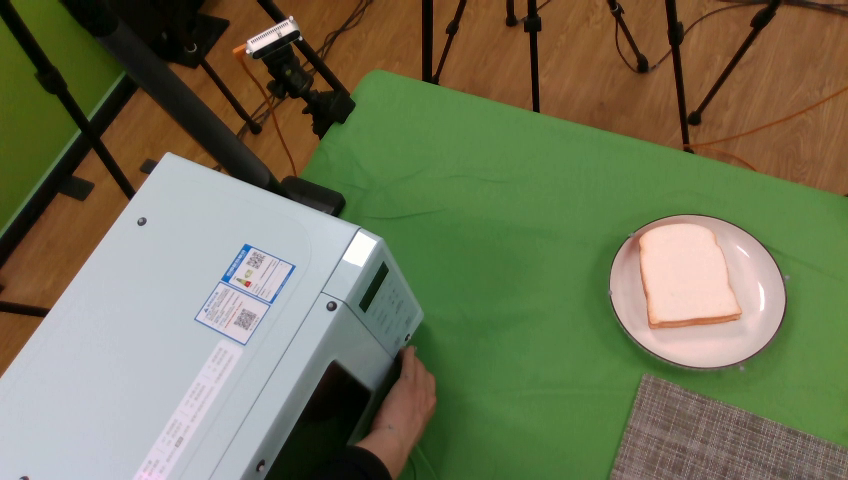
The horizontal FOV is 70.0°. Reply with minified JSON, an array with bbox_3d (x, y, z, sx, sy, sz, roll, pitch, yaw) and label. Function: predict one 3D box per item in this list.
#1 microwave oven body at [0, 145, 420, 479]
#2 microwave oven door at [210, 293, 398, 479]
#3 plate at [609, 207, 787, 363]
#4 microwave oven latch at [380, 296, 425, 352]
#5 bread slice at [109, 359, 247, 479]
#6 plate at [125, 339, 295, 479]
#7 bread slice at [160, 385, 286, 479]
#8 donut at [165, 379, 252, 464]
[{"bbox_3d":[-0.256,0.166,0.707,0.324,0.262,0.440,21,71,20],"label":"microwave oven body"},{"bbox_3d":[-0.149,0.249,0.640,0.039,0.246,0.354,21,70,20],"label":"microwave oven door"},{"bbox_3d":[0.340,0.057,0.769,0.207,0.039,0.206,-4,64,9],"label":"plate"},{"bbox_3d":[-0.031,0.107,0.799,0.030,0.030,0.079,32,75,23],"label":"microwave oven latch"},{"bbox_3d":[-0.270,0.202,0.686,0.106,0.018,0.134,32,67,13],"label":"bread slice"},{"bbox_3d":[-0.253,0.225,0.732,0.209,0.038,0.207,-3,67,7],"label":"plate"},{"bbox_3d":[-0.253,0.251,0.749,0.131,0.019,0.104,-30,61,-32],"label":"bread slice"},{"bbox_3d":[-0.250,0.212,0.710,0.099,0.048,0.098,1,60,-1],"label":"donut"}]
